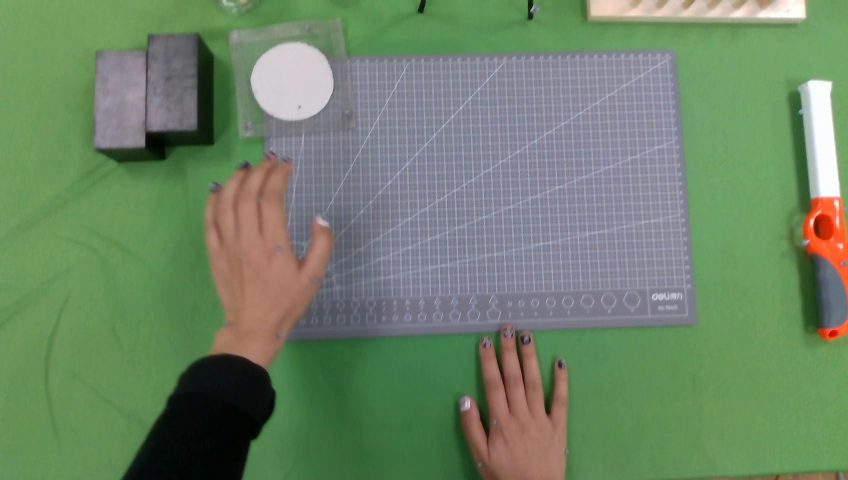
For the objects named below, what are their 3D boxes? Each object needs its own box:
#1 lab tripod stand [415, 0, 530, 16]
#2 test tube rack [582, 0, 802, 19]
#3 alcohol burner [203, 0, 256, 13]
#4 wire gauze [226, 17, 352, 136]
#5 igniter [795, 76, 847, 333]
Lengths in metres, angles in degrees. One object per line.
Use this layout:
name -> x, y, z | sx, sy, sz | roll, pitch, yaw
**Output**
lab tripod stand -> 0.054, -0.298, 0.609 | 0.148, 0.132, 0.148 | 0, 83, 0
test tube rack -> 0.299, -0.285, 0.641 | 0.242, 0.085, 0.066 | -1, 84, -2
alcohol burner -> -0.206, -0.281, 0.606 | 0.078, 0.119, 0.077 | 0, 81, -2
wire gauze -> -0.145, -0.175, 0.647 | 0.125, 0.011, 0.121 | -7, 83, -2
igniter -> 0.427, -0.040, 0.649 | 0.057, 0.025, 0.275 | 0, 84, -13
